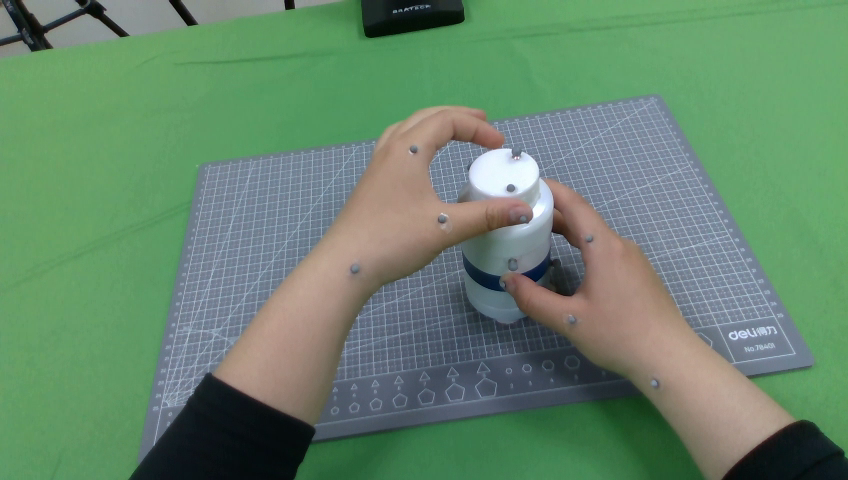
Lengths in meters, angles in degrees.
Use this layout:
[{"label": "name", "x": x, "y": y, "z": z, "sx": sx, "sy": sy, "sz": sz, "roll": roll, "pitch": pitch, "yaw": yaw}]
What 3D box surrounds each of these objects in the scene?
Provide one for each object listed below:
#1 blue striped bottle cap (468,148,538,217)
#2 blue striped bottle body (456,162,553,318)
[{"label": "blue striped bottle cap", "x": 0.048, "y": -0.036, "z": 0.374, "sx": 0.044, "sy": 0.021, "sz": 0.044, "roll": -3, "pitch": 49, "yaw": 3}, {"label": "blue striped bottle body", "x": 0.055, "y": -0.004, "z": 0.413, "sx": 0.063, "sy": 0.122, "sz": 0.062, "roll": -4, "pitch": 50, "yaw": 5}]
